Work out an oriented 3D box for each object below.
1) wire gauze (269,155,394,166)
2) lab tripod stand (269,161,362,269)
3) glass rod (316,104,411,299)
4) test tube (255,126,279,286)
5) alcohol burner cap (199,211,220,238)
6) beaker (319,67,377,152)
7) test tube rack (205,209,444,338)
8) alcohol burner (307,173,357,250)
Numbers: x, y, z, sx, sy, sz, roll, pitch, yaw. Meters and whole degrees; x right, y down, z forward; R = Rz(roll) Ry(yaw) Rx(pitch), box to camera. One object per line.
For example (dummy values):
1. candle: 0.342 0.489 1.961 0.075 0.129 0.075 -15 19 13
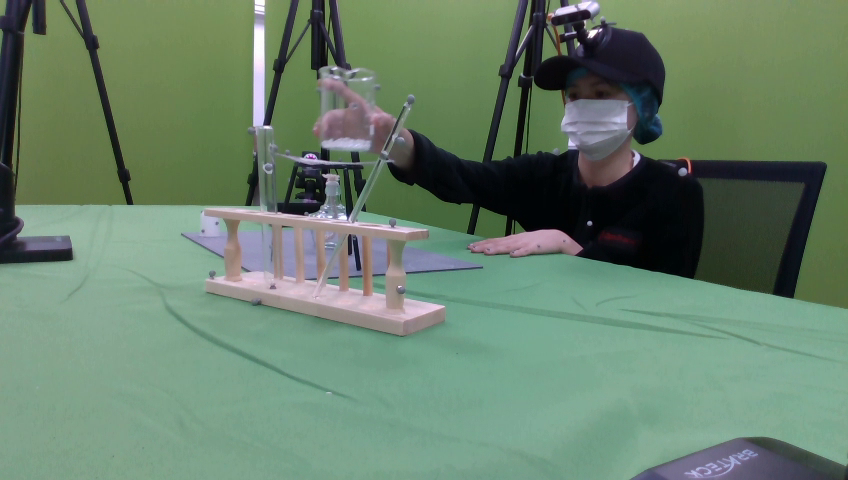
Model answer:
1. wire gauze: -0.121 -0.102 0.785 0.122 0.011 0.124 -3 10 -38
2. lab tripod stand: -0.125 -0.036 0.794 0.148 0.131 0.148 5 7 0
3. glass rod: -0.054 -0.026 0.516 0.008 0.199 0.008 23 24 -11
4. test tube: -0.147 -0.031 0.566 0.017 0.150 0.017 -1 8 0
5. alcohol burner cap: -0.356 -0.027 1.002 0.034 0.048 0.034 2 7 0
6. beaker: -0.099 -0.167 0.785 0.074 0.100 0.084 2 5 -9
7. test tube rack: -0.100 0.021 0.565 0.241 0.085 0.067 7 9 32
8. alcohol burner: -0.144 -0.045 0.940 0.078 0.119 0.078 1 8 0
